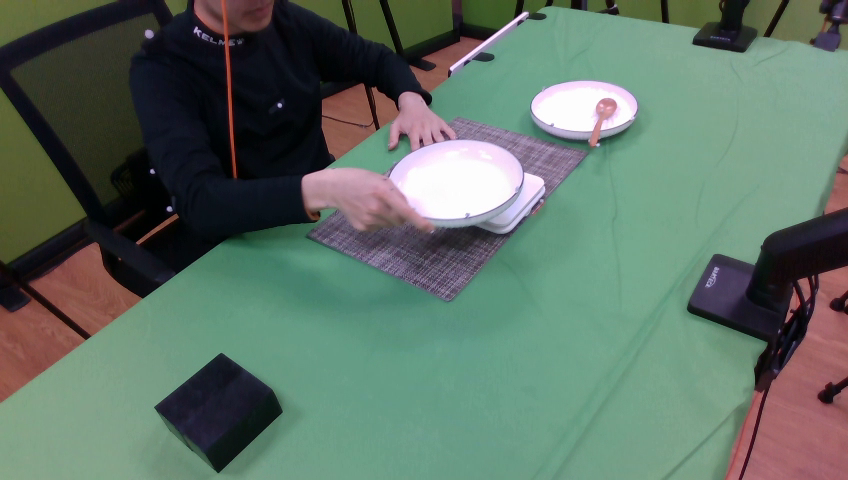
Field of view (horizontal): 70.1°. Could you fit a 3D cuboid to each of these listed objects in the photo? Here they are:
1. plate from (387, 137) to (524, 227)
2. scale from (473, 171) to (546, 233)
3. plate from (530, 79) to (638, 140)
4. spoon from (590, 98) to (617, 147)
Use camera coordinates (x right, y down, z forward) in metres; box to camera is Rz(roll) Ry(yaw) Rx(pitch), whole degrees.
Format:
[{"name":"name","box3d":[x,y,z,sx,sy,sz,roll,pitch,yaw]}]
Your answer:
[{"name":"plate","box3d":[0.048,-0.085,0.921,0.207,0.039,0.206,-4,42,4]},{"name":"scale","box3d":[0.093,-0.083,1.038,0.199,0.032,0.149,22,48,30]},{"name":"plate","box3d":[0.317,-0.257,1.209,0.209,0.038,0.208,-4,41,4]},{"name":"spoon","box3d":[0.334,-0.225,1.145,0.041,0.022,0.194,11,37,20]}]
